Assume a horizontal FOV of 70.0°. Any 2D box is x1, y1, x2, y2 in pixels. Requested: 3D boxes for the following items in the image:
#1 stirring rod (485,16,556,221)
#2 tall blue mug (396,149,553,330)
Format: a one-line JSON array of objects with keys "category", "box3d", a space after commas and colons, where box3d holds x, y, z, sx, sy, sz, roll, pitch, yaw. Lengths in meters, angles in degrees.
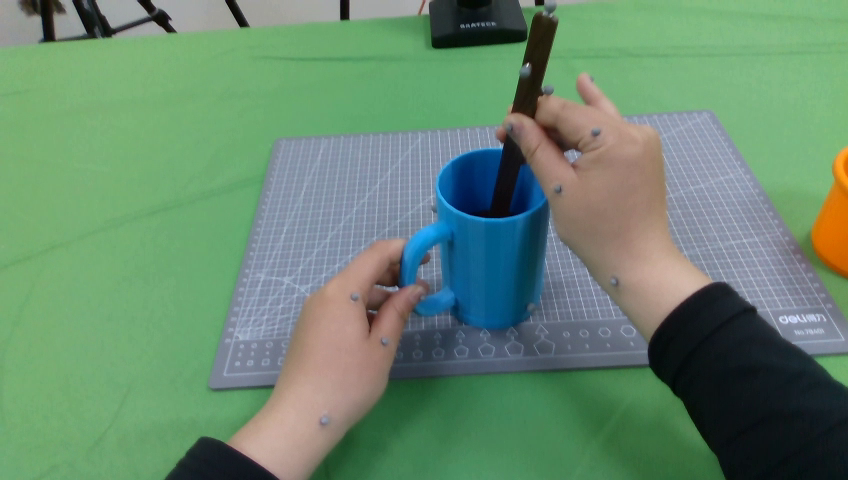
[{"category": "stirring rod", "box3d": [0.056, -0.060, 0.380, 0.014, 0.177, 0.006, 22, 55, 12]}, {"category": "tall blue mug", "box3d": [0.039, 0.011, 0.420, 0.077, 0.109, 0.107, 20, 50, 23]}]
